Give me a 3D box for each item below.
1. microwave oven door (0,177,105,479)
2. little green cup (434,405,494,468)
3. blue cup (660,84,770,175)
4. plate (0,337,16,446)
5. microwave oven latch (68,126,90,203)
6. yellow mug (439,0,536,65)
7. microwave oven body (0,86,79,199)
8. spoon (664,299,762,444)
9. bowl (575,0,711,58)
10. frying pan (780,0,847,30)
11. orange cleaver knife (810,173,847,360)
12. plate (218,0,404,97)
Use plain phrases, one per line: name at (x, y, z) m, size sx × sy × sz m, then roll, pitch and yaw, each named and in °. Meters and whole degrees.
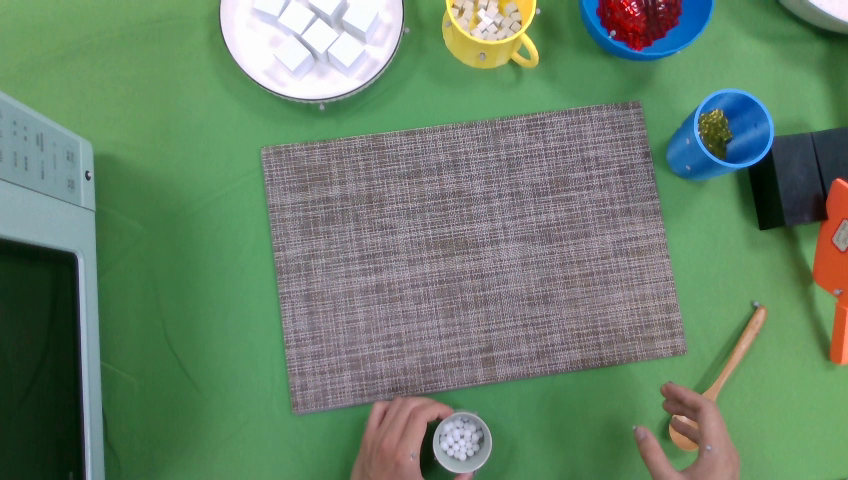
microwave oven door at (-0.356, 0.126, 0.528) m, size 0.039 × 0.244 × 0.355 m, roll -5°, pitch 84°, yaw -3°
little green cup at (0.039, 0.204, 0.638) m, size 0.062 × 0.038 × 0.061 m, roll 1°, pitch 87°, yaw -10°
blue cup at (0.312, -0.113, 0.673) m, size 0.093 × 0.100 × 0.092 m, roll 1°, pitch 82°, yaw -4°
plate at (-0.492, 0.149, 0.576) m, size 0.209 × 0.038 × 0.208 m, roll 0°, pitch 86°, yaw -4°
microwave oven latch at (-0.378, -0.080, 0.649) m, size 0.030 × 0.029 × 0.079 m, roll -3°, pitch 85°, yaw -4°
yellow mug at (0.080, -0.251, 0.693) m, size 0.131 × 0.064 × 0.100 m, roll 45°, pitch 84°, yaw 1°
microwave oven body at (-0.506, 0.097, 0.528) m, size 0.326 × 0.260 × 0.440 m, roll -5°, pitch 85°, yaw -4°
spoon at (0.334, 0.146, 0.687) m, size 0.041 × 0.022 × 0.193 m, roll 36°, pitch 83°, yaw 12°
bowl at (0.239, -0.273, 0.697) m, size 0.151 × 0.077 × 0.151 m, roll 0°, pitch 85°, yaw -3°
frying pan at (0.523, -0.283, 0.698) m, size 0.307 × 0.103 × 0.485 m, roll -3°, pitch 76°, yaw -2°
orange cleaver knife at (0.459, 0.032, 0.675) m, size 0.012 × 0.076 × 0.213 m, roll -9°, pitch 113°, yaw -3°
plate at (-0.127, -0.262, 0.698) m, size 0.208 × 0.039 × 0.207 m, roll 0°, pitch 84°, yaw -3°
